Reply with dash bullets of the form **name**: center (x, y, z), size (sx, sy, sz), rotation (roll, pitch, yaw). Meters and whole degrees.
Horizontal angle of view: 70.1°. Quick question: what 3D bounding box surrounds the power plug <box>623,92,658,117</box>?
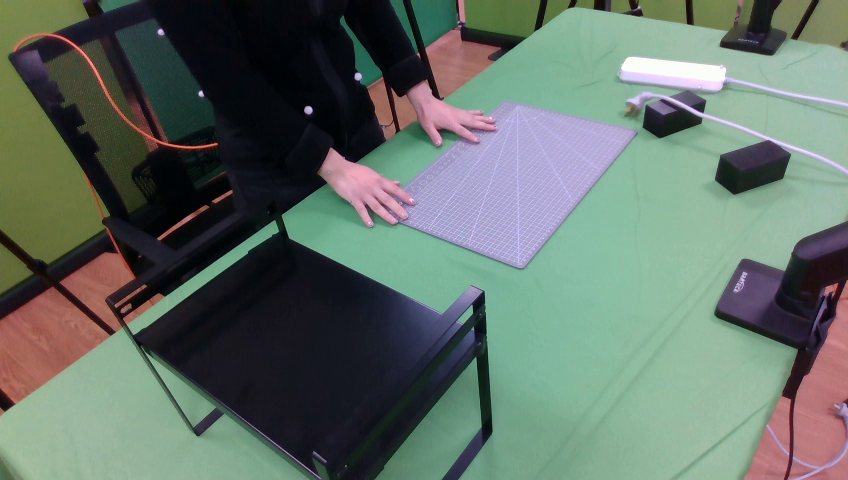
- **power plug**: center (0.422, -0.270, 1.198), size (0.035, 0.072, 0.052), rotation (36, 90, -4)

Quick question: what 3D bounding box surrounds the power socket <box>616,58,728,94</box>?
- **power socket**: center (0.531, -0.355, 1.302), size (0.225, 0.033, 0.072), rotation (15, 46, 23)
